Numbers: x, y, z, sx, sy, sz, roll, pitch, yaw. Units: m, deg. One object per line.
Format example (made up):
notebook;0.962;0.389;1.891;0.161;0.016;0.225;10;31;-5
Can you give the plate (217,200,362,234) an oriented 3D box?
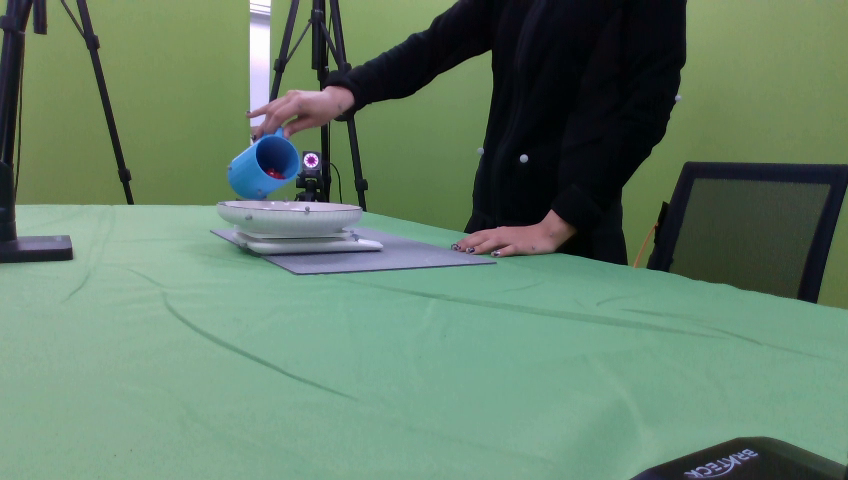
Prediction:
plate;-0.196;-0.034;0.894;0.209;0.038;0.209;2;7;0

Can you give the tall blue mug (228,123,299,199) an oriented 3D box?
tall blue mug;-0.263;-0.131;0.973;0.078;0.107;0.107;-12;-6;-40

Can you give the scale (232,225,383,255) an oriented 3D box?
scale;-0.177;-0.004;0.920;0.202;0.031;0.148;-1;9;-30
